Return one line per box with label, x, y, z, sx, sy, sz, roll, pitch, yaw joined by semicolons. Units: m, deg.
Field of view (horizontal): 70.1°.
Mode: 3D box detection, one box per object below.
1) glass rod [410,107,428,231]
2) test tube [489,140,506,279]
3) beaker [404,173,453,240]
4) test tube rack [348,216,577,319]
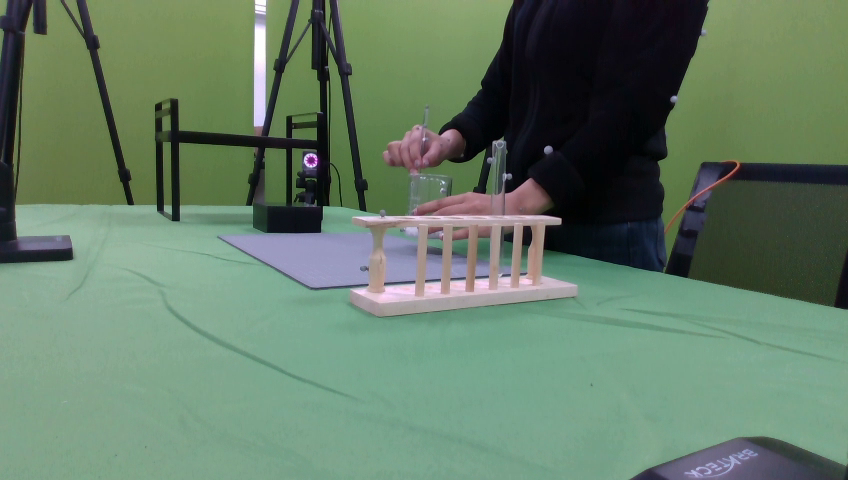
glass rod;-0.007;-0.113;0.960;0.008;0.199;0.008;7;-2;1
test tube;0.079;-0.032;0.653;0.017;0.150;0.017;1;2;0
beaker;0.008;-0.052;0.952;0.073;0.100;0.084;7;3;38
test tube rack;0.048;0.021;0.619;0.244;0.085;0.066;-2;9;-31
